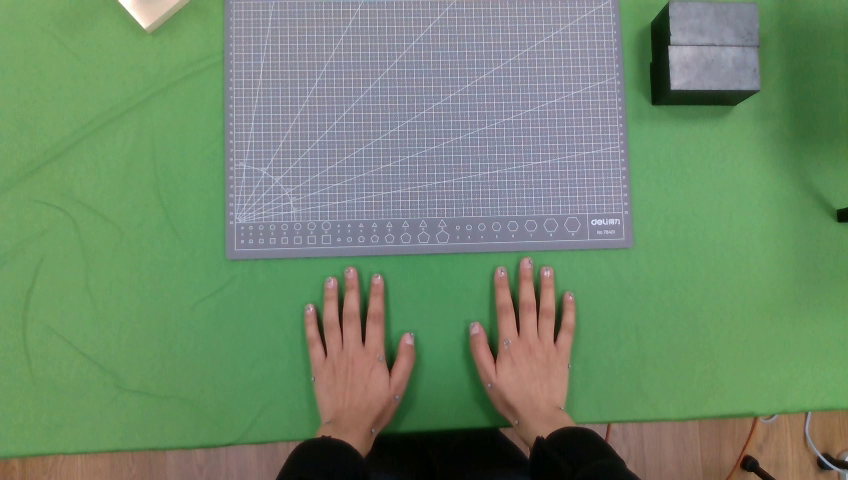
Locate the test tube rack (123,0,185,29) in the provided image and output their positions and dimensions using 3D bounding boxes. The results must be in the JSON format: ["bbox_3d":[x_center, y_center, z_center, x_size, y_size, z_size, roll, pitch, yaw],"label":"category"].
[{"bbox_3d":[-0.239,-0.345,0.647,0.242,0.085,0.066,-43,87,-5],"label":"test tube rack"}]
